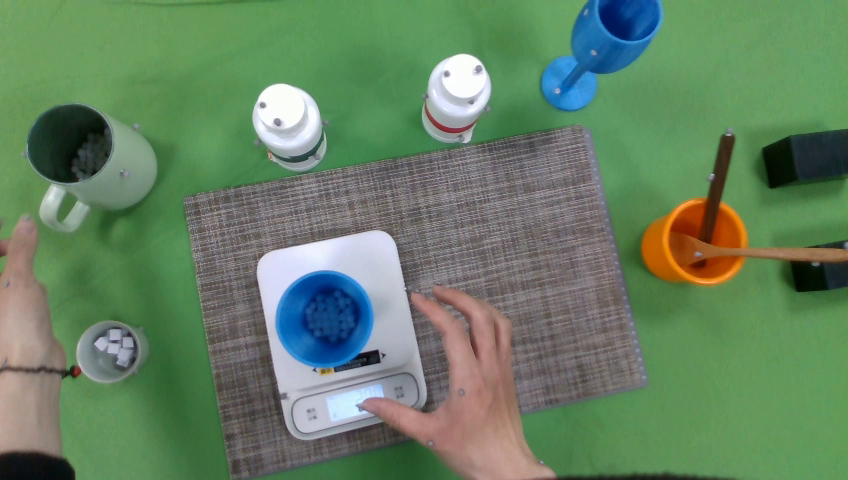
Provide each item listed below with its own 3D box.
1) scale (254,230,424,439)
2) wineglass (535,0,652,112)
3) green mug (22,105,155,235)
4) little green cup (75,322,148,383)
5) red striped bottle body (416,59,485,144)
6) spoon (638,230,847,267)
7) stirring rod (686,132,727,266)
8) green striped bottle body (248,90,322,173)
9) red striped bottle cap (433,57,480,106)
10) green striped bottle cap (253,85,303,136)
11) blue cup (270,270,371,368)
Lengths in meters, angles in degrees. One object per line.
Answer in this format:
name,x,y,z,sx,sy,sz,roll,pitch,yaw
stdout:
scale,-0.089,0.097,0.635,0.149,0.031,0.200,-12,85,-6
wineglass,0.167,-0.192,0.623,0.074,0.172,0.073,1,83,-4
green mug,-0.334,-0.064,0.598,0.092,0.105,0.125,24,82,-2
little green cup,-0.313,0.113,0.613,0.061,0.038,0.061,1,84,-6
red striped bottle body,0.027,-0.146,0.633,0.063,0.120,0.063,1,83,-5
spoon,0.321,0.012,0.628,0.022,0.192,0.041,3,90,-48
stirring rod,0.292,-0.036,0.631,0.014,0.178,0.005,-4,43,8
green striped bottle body,-0.139,-0.111,0.613,0.063,0.119,0.063,1,83,-5
red striped bottle cap,0.031,-0.153,0.580,0.044,0.018,0.044,1,80,-4
green striped bottle cap,-0.134,-0.119,0.558,0.044,0.020,0.044,1,83,-4
blue cup,-0.093,0.072,0.572,0.093,0.100,0.092,0,85,-6
